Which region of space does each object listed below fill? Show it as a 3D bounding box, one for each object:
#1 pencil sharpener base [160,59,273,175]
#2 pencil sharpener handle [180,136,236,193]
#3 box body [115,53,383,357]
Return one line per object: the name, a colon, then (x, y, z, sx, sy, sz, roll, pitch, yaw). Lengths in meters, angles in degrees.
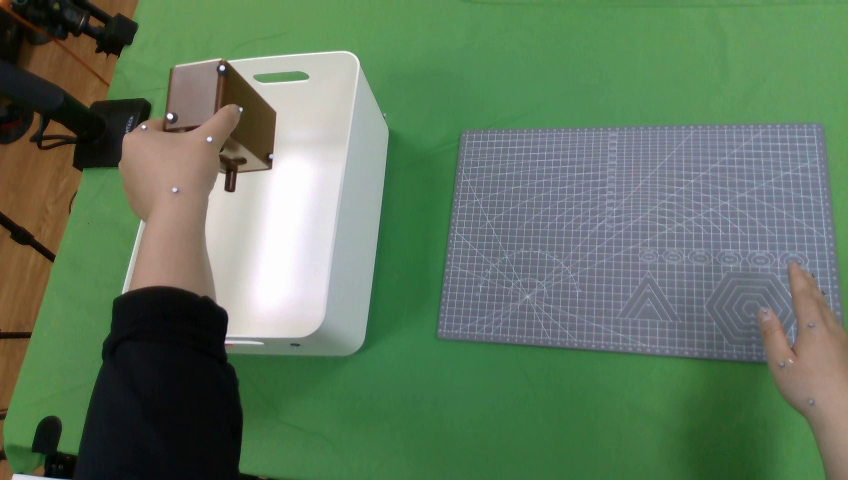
pencil sharpener base: (-0.201, -0.115, 0.599, 0.061, 0.108, 0.076, -4, 73, 12)
pencil sharpener handle: (-0.202, -0.070, 0.573, 0.036, 0.068, 0.030, -7, 72, 19)
box body: (-0.201, -0.036, 0.783, 0.253, 0.162, 0.361, -1, 69, 14)
